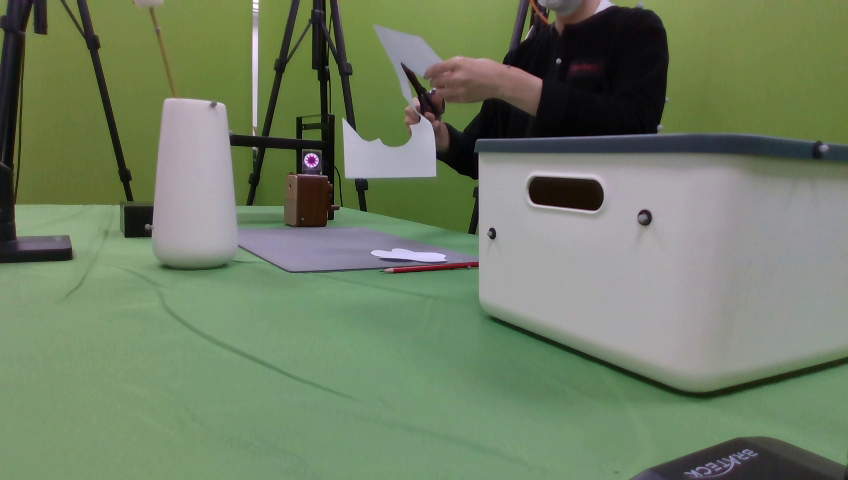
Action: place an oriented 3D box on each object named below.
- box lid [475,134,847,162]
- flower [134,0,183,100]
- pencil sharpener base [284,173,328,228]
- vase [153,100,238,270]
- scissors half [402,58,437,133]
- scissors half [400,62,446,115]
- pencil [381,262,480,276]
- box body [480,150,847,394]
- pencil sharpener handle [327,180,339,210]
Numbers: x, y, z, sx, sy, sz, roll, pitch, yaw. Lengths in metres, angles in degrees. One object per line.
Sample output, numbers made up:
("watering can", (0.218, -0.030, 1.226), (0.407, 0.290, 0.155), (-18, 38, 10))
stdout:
("box lid", (0.256, -0.073, 0.528), (0.373, 0.015, 0.262), (-2, 8, -31))
("flower", (-0.282, -0.147, 0.713), (0.038, 0.362, 0.044), (-23, 24, -31))
("pencil sharpener base", (-0.239, -0.081, 1.231), (0.077, 0.107, 0.061), (-2, 9, -36))
("vase", (-0.278, -0.066, 0.736), (0.098, 0.200, 0.098), (2, 9, 0))
("scissors half", (-0.010, -0.256, 1.081), (0.012, 0.040, 0.176), (19, -28, 32))
("scissors half", (-0.001, -0.274, 1.087), (0.013, 0.040, 0.176), (13, -6, 30))
("pencil", (0.030, 0.037, 0.794), (0.195, 0.012, 0.012), (-4, 10, -31))
("box body", (0.254, 0.002, 0.539), (0.366, 0.160, 0.253), (-2, 9, -31))
("pencil sharpener handle", (-0.194, -0.095, 1.257), (0.031, 0.067, 0.036), (-2, -5, -36))
